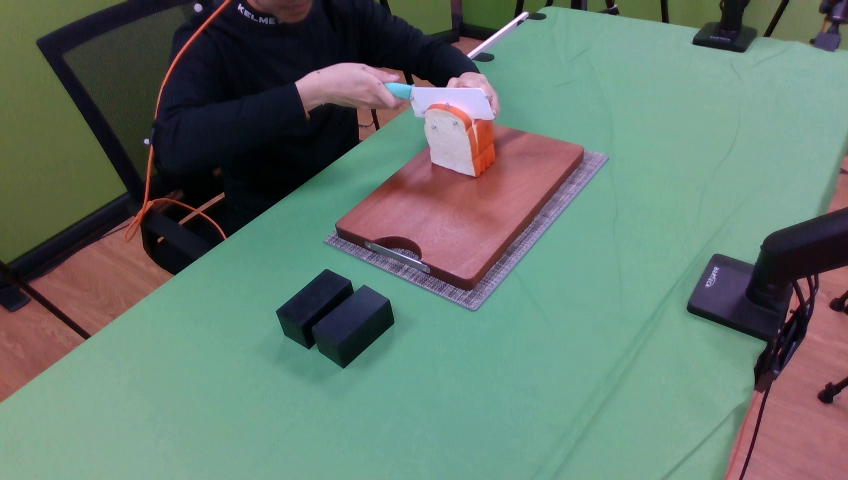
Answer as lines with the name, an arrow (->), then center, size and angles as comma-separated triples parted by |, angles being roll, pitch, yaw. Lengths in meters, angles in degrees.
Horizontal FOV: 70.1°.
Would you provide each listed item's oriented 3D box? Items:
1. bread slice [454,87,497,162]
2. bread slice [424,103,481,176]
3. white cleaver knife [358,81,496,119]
bread slice -> 0.080, -0.204, 1.068 | 0.106, 0.135, 0.018 | 24, 50, 29
bread slice -> 0.044, -0.174, 1.039 | 0.104, 0.132, 0.019 | 21, 53, 31
white cleaver knife -> -0.005, -0.237, 1.034 | 0.284, 0.066, 0.021 | 14, 49, 36
